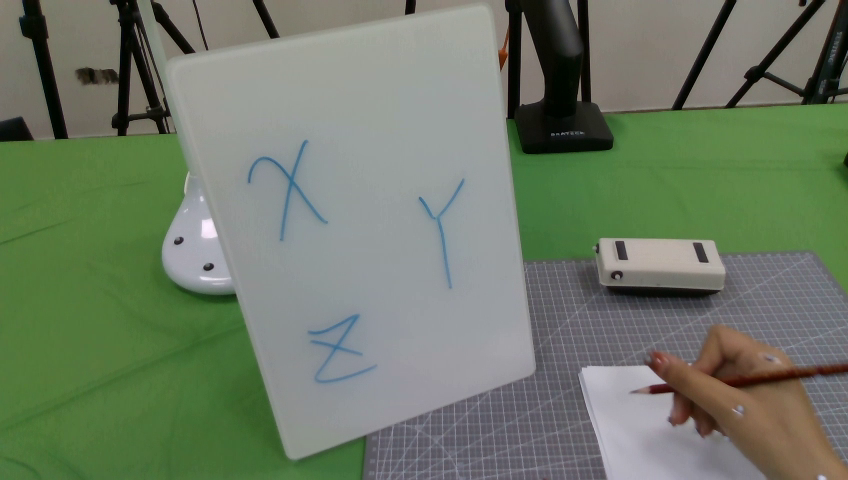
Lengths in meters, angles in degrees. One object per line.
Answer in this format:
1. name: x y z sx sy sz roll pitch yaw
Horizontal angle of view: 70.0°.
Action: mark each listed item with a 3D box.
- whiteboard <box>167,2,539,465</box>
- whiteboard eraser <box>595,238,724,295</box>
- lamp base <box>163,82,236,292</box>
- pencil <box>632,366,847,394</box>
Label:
1. whiteboard: -0.048 -0.014 0.501 0.217 0.307 0.142 -15 21 -13
2. whiteboard eraser: 0.228 0.026 0.592 0.112 0.042 0.055 2 40 7
3. lamp base: -0.217 -0.064 0.628 0.177 0.182 0.160 26 47 35
4. pencil: 0.221 0.091 0.395 0.193 0.012 0.012 -22 19 46
